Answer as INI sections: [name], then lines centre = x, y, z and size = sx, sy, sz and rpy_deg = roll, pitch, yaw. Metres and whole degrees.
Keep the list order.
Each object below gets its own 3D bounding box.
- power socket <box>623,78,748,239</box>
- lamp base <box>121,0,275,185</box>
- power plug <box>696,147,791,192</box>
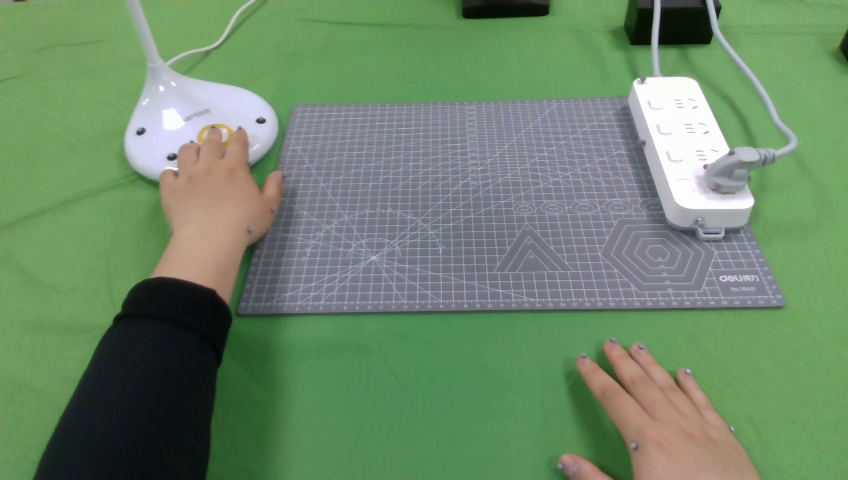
[power socket]
centre = 0.254, -0.093, 0.606
size = 0.072, 0.033, 0.224
rpy_deg = 1, 47, 2
[lamp base]
centre = -0.255, -0.173, 0.604
size = 0.177, 0.182, 0.160
rpy_deg = 29, 55, 29
[power plug]
centre = 0.281, -0.054, 0.538
size = 0.072, 0.053, 0.035
rpy_deg = 9, 48, 9
